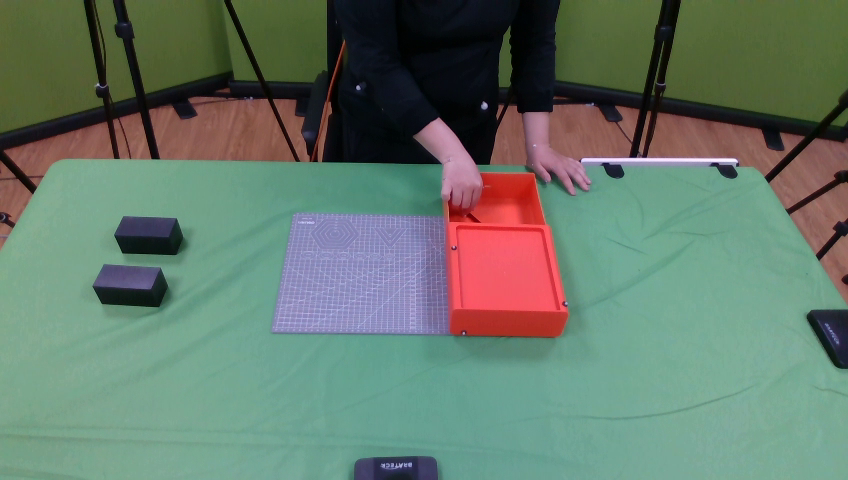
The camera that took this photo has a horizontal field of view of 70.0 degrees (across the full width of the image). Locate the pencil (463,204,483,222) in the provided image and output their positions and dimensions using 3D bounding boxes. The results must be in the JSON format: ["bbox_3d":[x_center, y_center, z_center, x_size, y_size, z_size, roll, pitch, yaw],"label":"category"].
[{"bbox_3d":[0.133,-0.018,1.220,0.012,0.012,0.193,-22,49,-24],"label":"pencil"}]

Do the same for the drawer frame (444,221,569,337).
[{"bbox_3d":[0.141,0.067,1.097,0.202,0.083,0.212,2,46,-4],"label":"drawer frame"}]

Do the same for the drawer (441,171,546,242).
[{"bbox_3d":[0.137,-0.048,1.214,0.195,0.073,0.210,2,43,-4],"label":"drawer"}]
